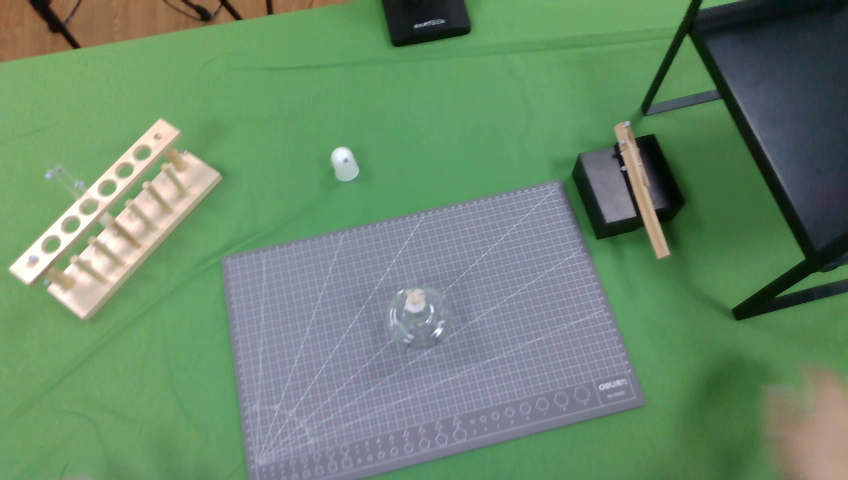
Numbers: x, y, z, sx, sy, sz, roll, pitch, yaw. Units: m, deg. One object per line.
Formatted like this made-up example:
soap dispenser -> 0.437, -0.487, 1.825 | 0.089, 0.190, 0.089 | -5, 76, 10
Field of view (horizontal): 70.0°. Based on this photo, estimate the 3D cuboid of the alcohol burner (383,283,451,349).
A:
alcohol burner -> -0.009, 0.079, 0.673 | 0.078, 0.120, 0.077 | -1, 66, 3

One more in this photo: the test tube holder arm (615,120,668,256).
test tube holder arm -> 0.258, -0.065, 0.722 | 0.013, 0.015, 0.177 | 6, 64, -32

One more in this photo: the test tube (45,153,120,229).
test tube -> -0.386, -0.052, 0.696 | 0.017, 0.151, 0.017 | 0, 63, 0

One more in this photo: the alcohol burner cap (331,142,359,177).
alcohol burner cap -> -0.105, -0.108, 0.789 | 0.034, 0.048, 0.033 | -2, 64, 5

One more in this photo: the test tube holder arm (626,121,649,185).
test tube holder arm -> 0.256, -0.105, 0.742 | 0.010, 0.015, 0.087 | 6, 64, -31

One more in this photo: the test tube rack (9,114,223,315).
test tube rack -> -0.366, -0.031, 0.741 | 0.066, 0.086, 0.242 | 34, 73, 14
